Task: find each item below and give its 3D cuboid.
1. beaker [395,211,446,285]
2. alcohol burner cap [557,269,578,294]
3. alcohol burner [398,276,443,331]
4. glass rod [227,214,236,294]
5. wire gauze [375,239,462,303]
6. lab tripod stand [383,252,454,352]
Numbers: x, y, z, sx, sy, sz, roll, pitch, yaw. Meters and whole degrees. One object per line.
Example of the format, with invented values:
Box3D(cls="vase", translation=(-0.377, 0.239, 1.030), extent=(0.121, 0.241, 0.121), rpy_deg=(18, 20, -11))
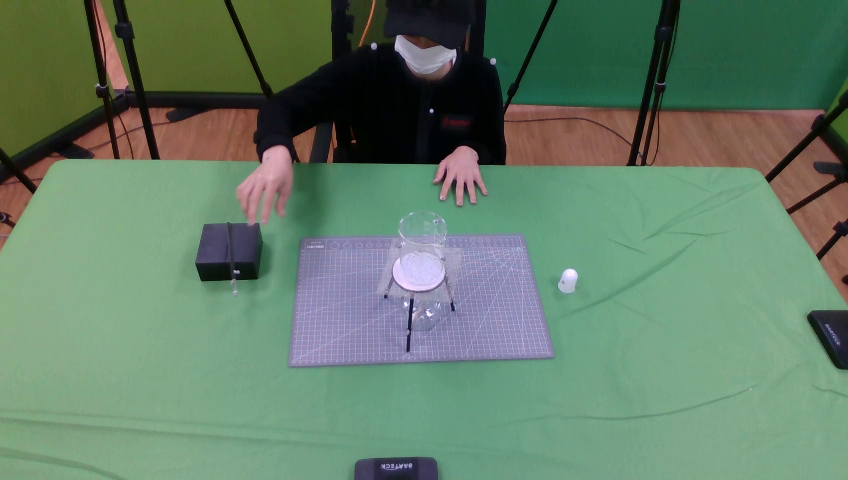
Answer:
Box3D(cls="beaker", translation=(-0.002, 0.017, 0.941), extent=(0.083, 0.101, 0.074), rpy_deg=(36, 54, 29))
Box3D(cls="alcohol burner cap", translation=(0.270, 0.074, 1.135), extent=(0.034, 0.048, 0.033), rpy_deg=(3, 46, -3))
Box3D(cls="alcohol burner", translation=(-0.005, 0.101, 1.033), extent=(0.078, 0.119, 0.077), rpy_deg=(3, 48, -3))
Box3D(cls="glass rod", translation=(-0.347, 0.022, 1.092), extent=(0.008, 0.008, 0.198), rpy_deg=(-9, 47, -13))
Box3D(cls="wire gauze", translation=(-0.006, 0.049, 0.978), extent=(0.121, 0.011, 0.124), rpy_deg=(10, 43, 5))
Box3D(cls="lab tripod stand", translation=(-0.016, 0.094, 1.025), extent=(0.148, 0.132, 0.147), rpy_deg=(1, 46, -1))
